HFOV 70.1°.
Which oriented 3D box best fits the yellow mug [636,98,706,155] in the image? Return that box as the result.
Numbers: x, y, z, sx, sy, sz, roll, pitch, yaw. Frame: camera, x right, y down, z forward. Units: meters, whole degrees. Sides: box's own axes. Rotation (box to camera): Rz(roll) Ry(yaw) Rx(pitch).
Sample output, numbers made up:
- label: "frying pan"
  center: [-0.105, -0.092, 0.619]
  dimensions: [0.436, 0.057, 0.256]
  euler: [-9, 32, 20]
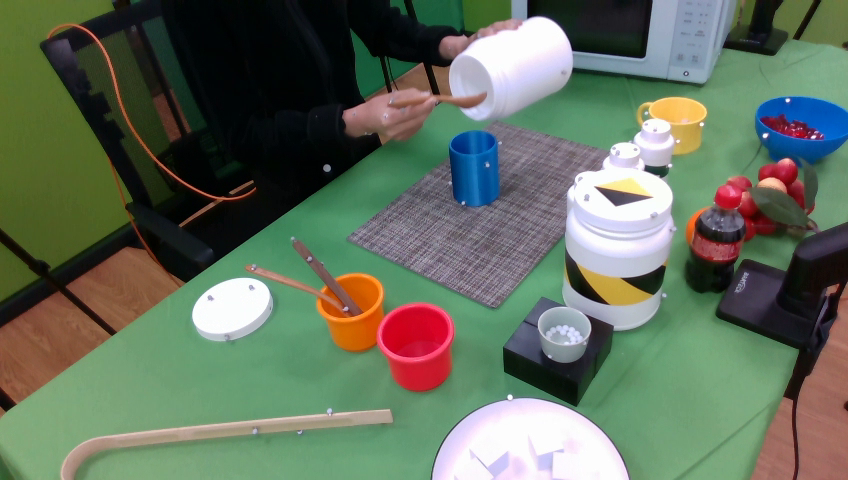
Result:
- label: "yellow mug"
  center: [0.453, -0.217, 1.128]
  dimensions: [0.100, 0.064, 0.129]
  euler: [-34, 46, -27]

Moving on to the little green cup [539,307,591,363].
- label: "little green cup"
  center: [0.167, 0.114, 0.721]
  dimensions: [0.061, 0.039, 0.061]
  euler: [-4, 43, 4]

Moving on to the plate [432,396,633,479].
- label: "plate"
  center: [0.112, 0.261, 0.634]
  dimensions: [0.209, 0.038, 0.208]
  euler: [-5, 40, 4]

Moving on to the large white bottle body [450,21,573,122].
- label: "large white bottle body"
  center: [0.145, -0.279, 1.013]
  dimensions: [0.185, 0.131, 0.129]
  euler: [-30, 45, -30]

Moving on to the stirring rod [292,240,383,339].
- label: "stirring rod"
  center: [-0.118, 0.068, 0.825]
  dimensions: [0.176, 0.006, 0.014]
  euler: [48, 59, -3]

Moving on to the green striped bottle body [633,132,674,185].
- label: "green striped bottle body"
  center: [0.376, -0.135, 1.001]
  dimensions: [0.063, 0.120, 0.063]
  euler: [-5, 40, 5]

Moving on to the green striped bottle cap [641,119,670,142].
- label: "green striped bottle cap"
  center: [0.371, -0.175, 0.968]
  dimensions: [0.044, 0.020, 0.044]
  euler: [-5, 42, 5]

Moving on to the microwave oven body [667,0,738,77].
- label: "microwave oven body"
  center: [0.462, -0.552, 1.369]
  dimensions: [0.439, 0.261, 0.326]
  euler: [15, 45, 26]

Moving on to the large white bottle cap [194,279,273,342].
- label: "large white bottle cap"
  center: [-0.284, 0.103, 0.902]
  dimensions: [0.115, 0.018, 0.114]
  euler: [-4, 40, 4]

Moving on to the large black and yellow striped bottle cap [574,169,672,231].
- label: "large black and yellow striped bottle cap"
  center: [0.242, -0.051, 0.738]
  dimensions: [0.115, 0.019, 0.114]
  euler: [-4, 37, 3]

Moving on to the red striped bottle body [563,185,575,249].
- label: "red striped bottle body"
  center: [0.247, -0.041, 0.910]
  dimensions: [0.063, 0.120, 0.062]
  euler: [0, 38, 1]

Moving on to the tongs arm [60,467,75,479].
- label: "tongs arm"
  center: [-0.239, 0.301, 0.649]
  dimensions: [0.386, 0.028, 0.028]
  euler: [6, 49, 16]

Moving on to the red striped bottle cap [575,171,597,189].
- label: "red striped bottle cap"
  center: [0.242, -0.081, 0.876]
  dimensions: [0.044, 0.018, 0.044]
  euler: [-5, 44, 5]

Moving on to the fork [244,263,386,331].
- label: "fork"
  center: [-0.141, 0.077, 0.807]
  dimensions: [0.209, 0.018, 0.028]
  euler: [30, 45, -24]

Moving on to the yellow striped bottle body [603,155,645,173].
- label: "yellow striped bottle body"
  center: [0.314, -0.091, 0.957]
  dimensions: [0.063, 0.121, 0.062]
  euler: [-4, 40, 4]

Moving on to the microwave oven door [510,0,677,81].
- label: "microwave oven door"
  center: [0.354, -0.478, 1.290]
  dimensions: [0.353, 0.245, 0.039]
  euler: [15, 45, 25]

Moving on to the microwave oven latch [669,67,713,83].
- label: "microwave oven latch"
  center: [0.556, -0.349, 1.261]
  dimensions: [0.078, 0.029, 0.030]
  euler: [16, 46, 27]

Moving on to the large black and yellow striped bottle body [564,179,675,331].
- label: "large black and yellow striped bottle body"
  center: [0.253, 0.014, 0.793]
  dimensions: [0.131, 0.185, 0.130]
  euler: [-5, 40, 4]

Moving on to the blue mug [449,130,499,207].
- label: "blue mug"
  center: [0.089, -0.133, 1.049]
  dimensions: [0.082, 0.106, 0.116]
  euler: [0, 40, 8]

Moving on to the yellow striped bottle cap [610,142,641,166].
- label: "yellow striped bottle cap"
  center: [0.308, -0.131, 0.925]
  dimensions: [0.044, 0.019, 0.044]
  euler: [-4, 45, 5]

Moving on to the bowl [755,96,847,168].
- label: "bowl"
  center: [0.645, -0.177, 1.041]
  dimensions: [0.151, 0.077, 0.150]
  euler: [-5, 40, 4]

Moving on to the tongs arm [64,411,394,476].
- label: "tongs arm"
  center: [-0.228, 0.241, 0.715]
  dimensions: [0.385, 0.026, 0.050]
  euler: [-5, 44, 5]

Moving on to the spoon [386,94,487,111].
- label: "spoon"
  center: [0.022, -0.207, 0.912]
  dimensions: [0.195, 0.041, 0.021]
  euler: [-9, 75, -35]
